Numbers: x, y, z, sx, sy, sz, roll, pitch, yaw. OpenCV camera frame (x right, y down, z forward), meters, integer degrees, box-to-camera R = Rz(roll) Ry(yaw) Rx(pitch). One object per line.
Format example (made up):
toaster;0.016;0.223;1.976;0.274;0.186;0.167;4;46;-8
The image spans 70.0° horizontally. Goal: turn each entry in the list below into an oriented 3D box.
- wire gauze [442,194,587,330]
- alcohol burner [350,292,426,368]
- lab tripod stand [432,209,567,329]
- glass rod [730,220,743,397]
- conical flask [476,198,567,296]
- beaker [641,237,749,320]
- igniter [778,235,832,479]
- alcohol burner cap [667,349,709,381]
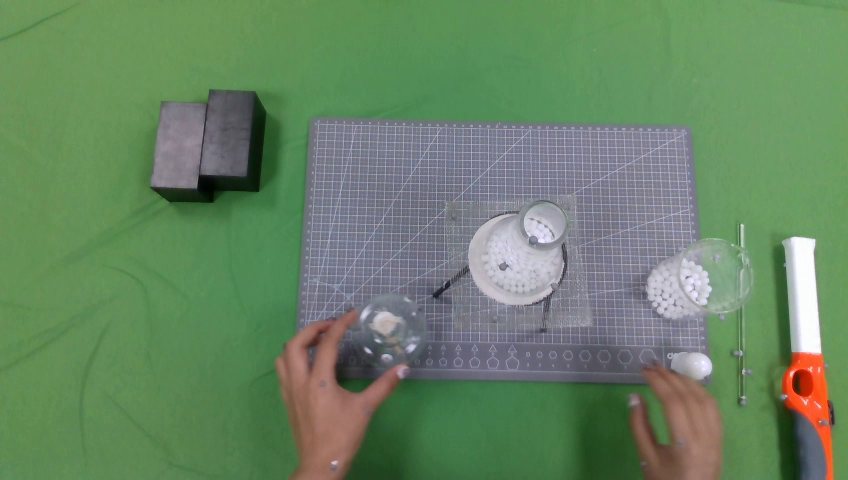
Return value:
wire gauze;0.081;0.019;0.546;0.125;0.011;0.121;-2;79;-4
alcohol burner;-0.036;0.088;0.606;0.078;0.119;0.077;0;75;-1
lab tripod stand;0.080;0.032;0.610;0.148;0.132;0.147;0;79;0
glass rod;0.348;0.073;0.674;0.008;0.008;0.198;5;77;0
conical flask;0.084;0.001;0.489;0.075;0.122;0.075;0;77;0
beaker;0.278;0.042;0.630;0.084;0.100;0.073;-35;80;-9
igniter;0.408;0.130;0.652;0.057;0.025;0.275;6;77;-10
alcohol burner cap;0.281;0.131;0.639;0.034;0.048;0.033;0;77;-1
